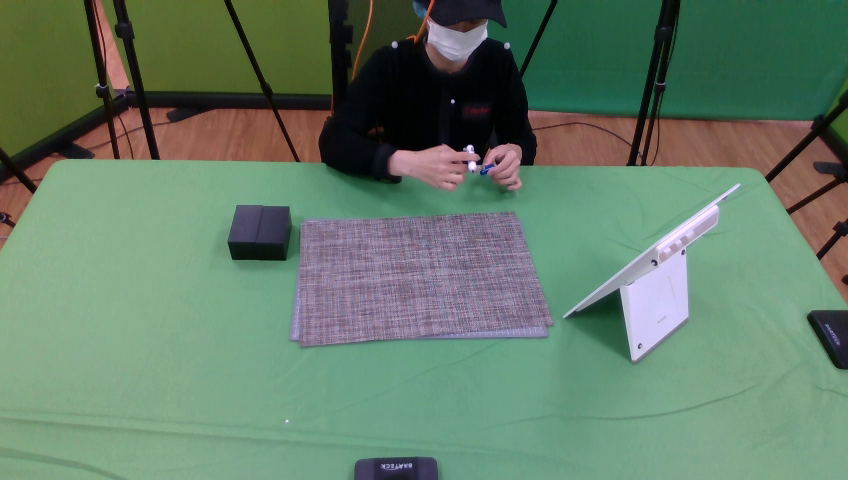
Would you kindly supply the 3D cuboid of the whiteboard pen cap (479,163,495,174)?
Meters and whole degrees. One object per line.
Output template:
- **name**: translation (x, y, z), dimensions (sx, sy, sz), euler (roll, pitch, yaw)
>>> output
- **whiteboard pen cap**: translation (0.133, -0.152, 1.286), dimensions (0.033, 0.018, 0.018), euler (-21, 51, -13)

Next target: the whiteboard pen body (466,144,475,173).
- **whiteboard pen body**: translation (0.092, -0.159, 1.194), dimensions (0.017, 0.017, 0.140), euler (6, 29, 1)

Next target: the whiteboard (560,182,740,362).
- **whiteboard**: translation (0.406, 0.075, 1.001), dimensions (0.217, 0.306, 0.143), euler (-28, 73, -28)
